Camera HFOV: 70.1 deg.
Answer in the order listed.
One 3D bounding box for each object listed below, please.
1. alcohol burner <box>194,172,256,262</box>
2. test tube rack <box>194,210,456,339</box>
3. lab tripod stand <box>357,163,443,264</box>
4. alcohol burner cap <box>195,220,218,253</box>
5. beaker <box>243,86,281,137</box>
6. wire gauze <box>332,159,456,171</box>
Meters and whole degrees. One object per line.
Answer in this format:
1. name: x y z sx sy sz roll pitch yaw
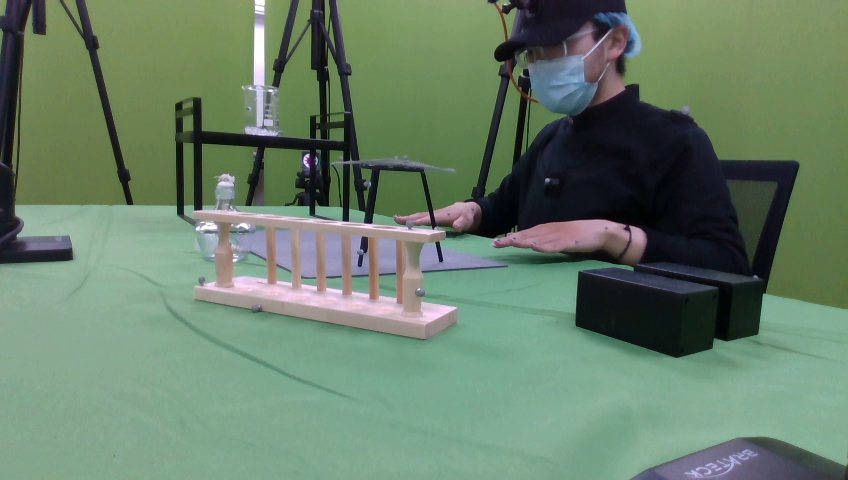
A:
1. alcohol burner: -0.264 -0.031 0.802 0.078 0.119 0.078 0 8 0
2. test tube rack: -0.093 0.023 0.545 0.241 0.085 0.067 6 8 25
3. lab tripod stand: -0.044 -0.038 0.830 0.148 0.131 0.148 3 6 0
4. alcohol burner cap: -0.316 -0.007 0.882 0.034 0.048 0.034 4 8 0
5. beaker: -0.338 -0.265 1.253 0.073 0.100 0.084 8 9 38
6. wire gauze: -0.042 -0.104 0.819 0.126 0.011 0.121 -3 9 -44
